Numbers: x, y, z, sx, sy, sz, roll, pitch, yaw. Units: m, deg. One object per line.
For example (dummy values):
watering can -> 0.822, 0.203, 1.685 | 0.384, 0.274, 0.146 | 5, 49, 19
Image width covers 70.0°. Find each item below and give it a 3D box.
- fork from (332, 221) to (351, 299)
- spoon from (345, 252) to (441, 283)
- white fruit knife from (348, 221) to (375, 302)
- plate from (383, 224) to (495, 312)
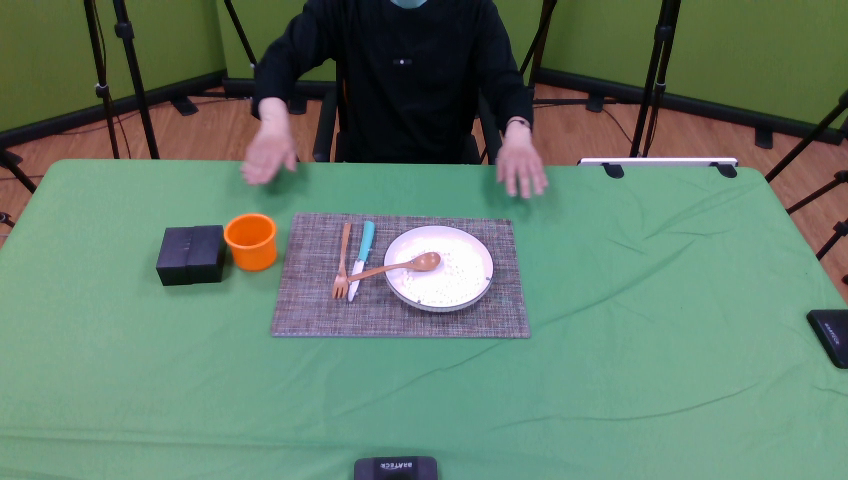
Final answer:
fork -> -0.153, 0.034, 1.149 | 0.028, 0.019, 0.206 | -7, 47, 6
spoon -> -0.054, 0.051, 1.106 | 0.194, 0.022, 0.041 | -10, 48, -30
white fruit knife -> -0.119, 0.037, 1.153 | 0.027, 0.016, 0.206 | -15, 42, 25
plate -> 0.026, 0.055, 1.128 | 0.209, 0.038, 0.208 | 2, 46, -2
